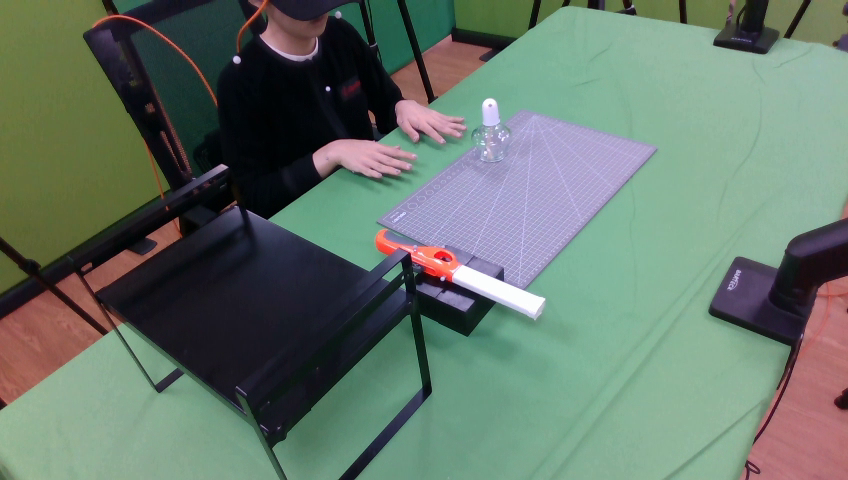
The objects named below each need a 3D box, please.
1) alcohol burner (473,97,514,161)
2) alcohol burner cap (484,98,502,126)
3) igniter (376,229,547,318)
[{"bbox_3d":[0.127,-0.208,1.123,0.078,0.119,0.077,-5,39,5],"label":"alcohol burner"},{"bbox_3d":[0.124,-0.236,1.101,0.034,0.048,0.033,-7,38,6],"label":"alcohol burner cap"},{"bbox_3d":[0.040,0.041,0.845,0.274,0.025,0.057,22,46,27],"label":"igniter"}]
